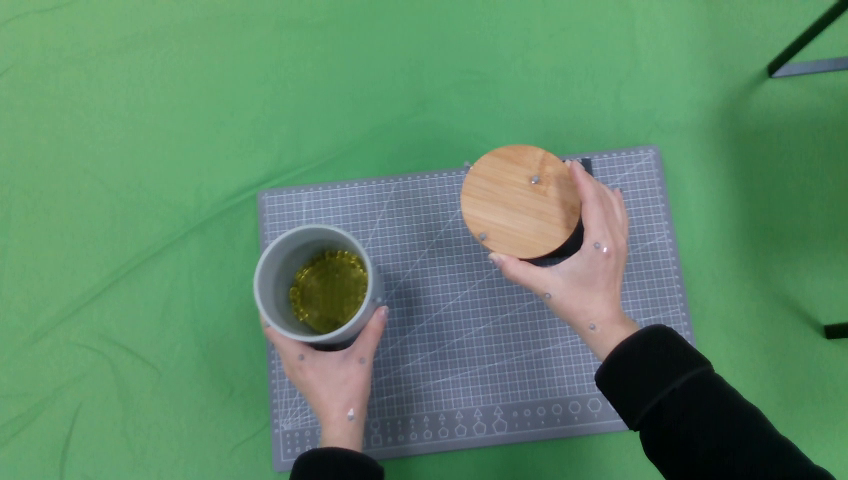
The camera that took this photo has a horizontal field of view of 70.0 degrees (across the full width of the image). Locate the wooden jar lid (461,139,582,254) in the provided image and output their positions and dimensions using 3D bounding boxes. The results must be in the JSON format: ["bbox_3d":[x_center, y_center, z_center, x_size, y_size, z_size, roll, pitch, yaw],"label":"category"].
[{"bbox_3d":[0.087,-0.038,0.549,0.108,0.021,0.108,0,76,2],"label":"wooden jar lid"}]

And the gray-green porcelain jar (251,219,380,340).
[{"bbox_3d":[-0.098,0.044,0.592,0.106,0.127,0.105,0,79,1],"label":"gray-green porcelain jar"}]
